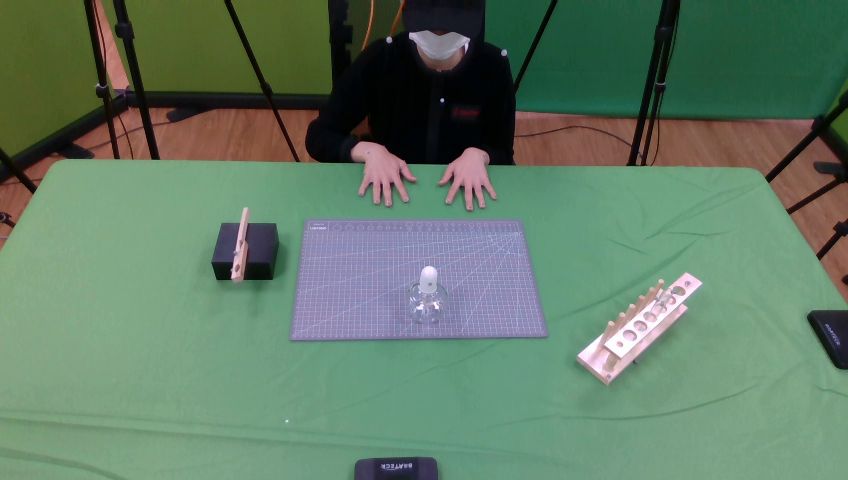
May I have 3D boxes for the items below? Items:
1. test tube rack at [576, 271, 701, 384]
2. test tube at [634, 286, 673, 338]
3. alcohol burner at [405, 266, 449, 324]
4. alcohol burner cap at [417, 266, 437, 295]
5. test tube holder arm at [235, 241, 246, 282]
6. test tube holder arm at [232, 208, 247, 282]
[{"bbox_3d":[0.373,0.138,1.048,0.242,0.085,0.066,-31,56,-29],"label":"test tube rack"},{"bbox_3d":[0.374,0.123,0.994,0.017,0.151,0.017,2,52,-2],"label":"test tube"},{"bbox_3d":[0.005,0.089,1.044,0.078,0.120,0.077,1,45,-1],"label":"alcohol burner"},{"bbox_3d":[0.006,0.065,1.017,0.034,0.048,0.033,4,42,-3],"label":"alcohol burner cap"},{"bbox_3d":[-0.323,0.037,1.071,0.010,0.015,0.087,-9,46,-2],"label":"test tube holder arm"},{"bbox_3d":[-0.335,0.006,1.102,0.013,0.015,0.177,-9,46,-3],"label":"test tube holder arm"}]
